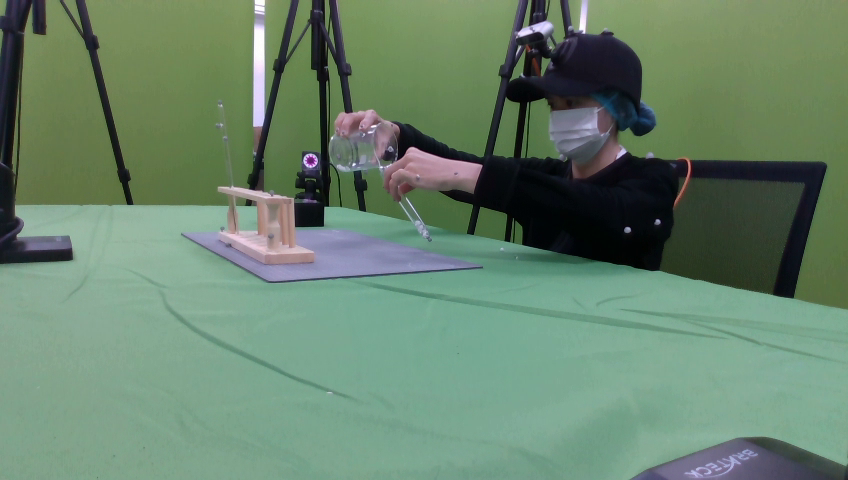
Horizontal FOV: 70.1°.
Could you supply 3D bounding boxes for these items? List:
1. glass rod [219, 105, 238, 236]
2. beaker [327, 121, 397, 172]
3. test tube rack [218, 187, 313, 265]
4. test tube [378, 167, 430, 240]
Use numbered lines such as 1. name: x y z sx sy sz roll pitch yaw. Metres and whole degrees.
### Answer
1. glass rod: -0.294 -0.100 0.908 0.008 0.199 0.008 -3 12 1
2. beaker: -0.107 -0.153 1.027 0.100 0.084 0.074 -3 -9 31
3. test tube rack: -0.235 -0.027 0.872 0.067 0.085 0.241 -2 8 -32
4. test tube: -0.033 -0.060 0.970 0.017 0.017 0.149 -5 54 -47
